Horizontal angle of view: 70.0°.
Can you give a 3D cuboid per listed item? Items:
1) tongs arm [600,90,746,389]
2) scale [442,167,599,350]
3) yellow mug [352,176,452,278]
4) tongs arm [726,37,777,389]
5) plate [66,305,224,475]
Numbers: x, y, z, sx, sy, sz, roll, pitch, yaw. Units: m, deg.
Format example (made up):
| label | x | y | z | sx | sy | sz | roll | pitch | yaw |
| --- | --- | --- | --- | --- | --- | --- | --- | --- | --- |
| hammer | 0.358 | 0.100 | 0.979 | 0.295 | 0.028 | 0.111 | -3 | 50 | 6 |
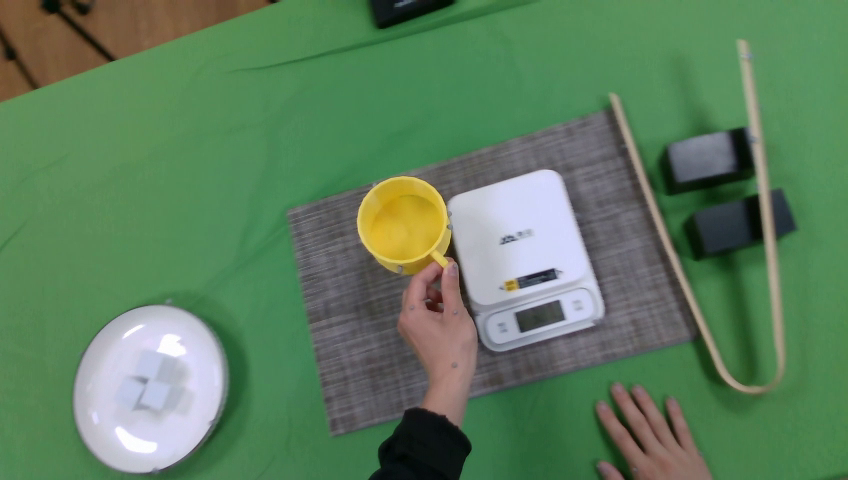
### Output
| label | x | y | z | sx | sy | sz | roll | pitch | yaw |
| --- | --- | --- | --- | --- | --- | --- | --- | --- | --- |
| tongs arm | 0.284 | -0.011 | 0.715 | 0.028 | 0.028 | 0.385 | -26 | 73 | 28 |
| scale | 0.113 | 0.020 | 0.733 | 0.148 | 0.032 | 0.199 | -17 | 76 | 6 |
| yellow mug | -0.016 | -0.005 | 0.683 | 0.100 | 0.064 | 0.130 | -45 | 78 | -5 |
| tongs arm | 0.347 | -0.032 | 0.667 | 0.050 | 0.027 | 0.383 | -11 | 82 | 34 |
| plate | -0.349 | 0.188 | 0.772 | 0.207 | 0.039 | 0.206 | -2 | 77 | 8 |
